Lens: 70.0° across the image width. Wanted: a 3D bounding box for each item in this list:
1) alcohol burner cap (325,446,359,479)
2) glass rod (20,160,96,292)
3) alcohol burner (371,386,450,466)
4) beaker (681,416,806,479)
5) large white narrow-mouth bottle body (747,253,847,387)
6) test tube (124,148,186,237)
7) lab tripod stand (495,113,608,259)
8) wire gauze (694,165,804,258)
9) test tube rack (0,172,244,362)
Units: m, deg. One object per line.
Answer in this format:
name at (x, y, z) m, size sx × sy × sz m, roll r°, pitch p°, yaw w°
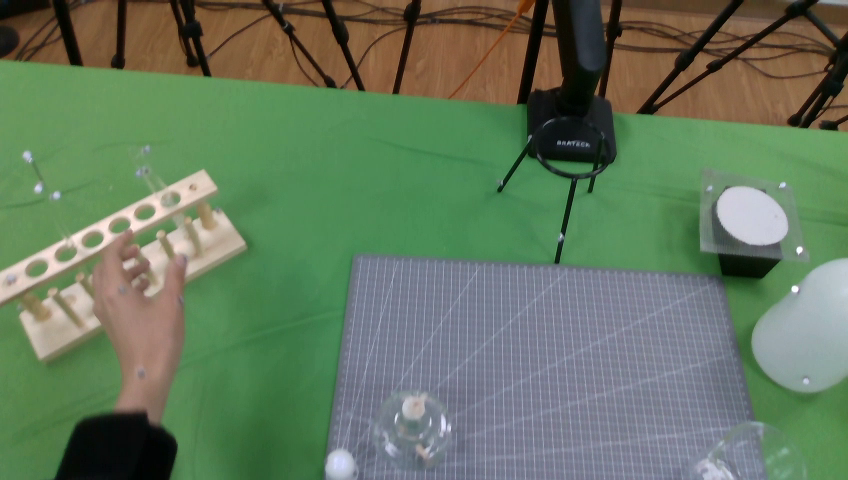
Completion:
alcohol burner cap at (-0.081, 0.217, 0.586) m, size 0.034 × 0.048 × 0.033 m, roll 1°, pitch 57°, yaw -1°
glass rod at (-0.363, -0.004, 0.610) m, size 0.008 × 0.201 × 0.008 m, roll 4°, pitch 49°, yaw -4°
alcohol burner at (-0.012, 0.171, 0.576) m, size 0.078 × 0.120 × 0.077 m, roll 2°, pitch 57°, yaw -3°
beaker at (0.291, 0.216, 0.571) m, size 0.084 × 0.101 × 0.073 m, roll 8°, pitch 57°, yaw 4°
large white narrow-mouth bottle body at (0.418, 0.072, 0.615) m, size 0.102 × 0.196 × 0.101 m, roll 1°, pitch 57°, yaw -1°
test tube at (-0.286, -0.047, 0.660) m, size 0.017 × 0.151 × 0.017 m, roll -1°, pitch 59°, yaw 2°
lab tripod stand at (0.161, -0.071, 0.728) m, size 0.148 × 0.132 × 0.147 m, roll 2°, pitch 59°, yaw -3°
wire gauze at (0.388, -0.034, 0.732) m, size 0.121 × 0.011 × 0.124 m, roll 10°, pitch 58°, yaw 4°
test tube rack at (-0.331, 0.027, 0.669) m, size 0.242 × 0.086 × 0.066 m, roll -32°, pitch 65°, yaw -21°
